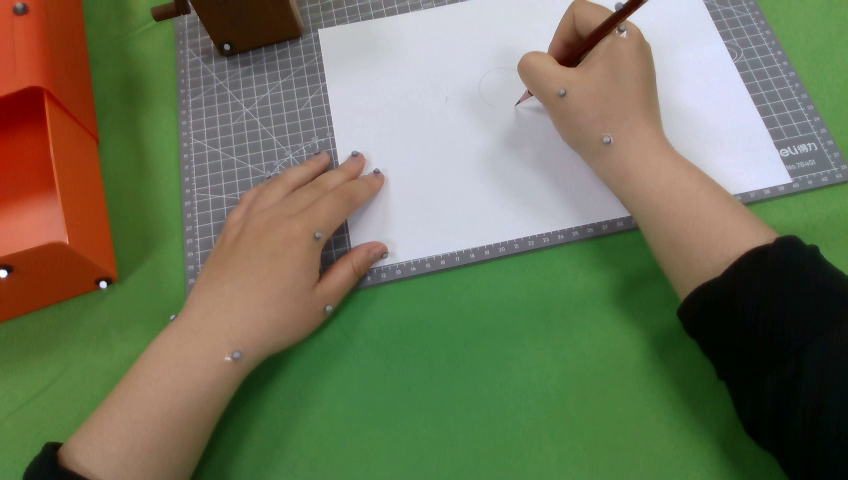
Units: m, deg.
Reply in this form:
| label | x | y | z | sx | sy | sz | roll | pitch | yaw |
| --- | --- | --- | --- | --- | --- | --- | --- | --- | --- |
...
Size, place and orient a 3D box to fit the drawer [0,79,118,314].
| label | x | y | z | sx | sy | sz | roll | pitch | yaw |
| --- | --- | --- | --- | --- | --- | --- | --- | --- | --- |
| drawer | -0.330 | -0.044 | 0.407 | 0.194 | 0.074 | 0.210 | -20 | 67 | -3 |

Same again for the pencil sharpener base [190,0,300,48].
| label | x | y | z | sx | sy | sz | roll | pitch | yaw |
| --- | --- | --- | --- | --- | --- | --- | --- | --- | --- |
| pencil sharpener base | -0.144 | -0.202 | 0.439 | 0.077 | 0.108 | 0.061 | -18 | 67 | -2 |

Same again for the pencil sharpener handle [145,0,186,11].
| label | x | y | z | sx | sy | sz | roll | pitch | yaw |
| --- | --- | --- | --- | --- | --- | --- | --- | --- | --- |
| pencil sharpener handle | -0.193 | -0.191 | 0.425 | 0.030 | 0.068 | 0.035 | -18 | 64 | -2 |

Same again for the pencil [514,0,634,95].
| label | x | y | z | sx | sy | sz | roll | pitch | yaw |
| --- | --- | --- | --- | --- | --- | --- | --- | --- | --- |
| pencil | 0.109 | -0.133 | 0.357 | 0.012 | 0.194 | 0.012 | 9 | 69 | -25 |

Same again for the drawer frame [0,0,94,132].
| label | x | y | z | sx | sy | sz | roll | pitch | yaw |
| --- | --- | --- | --- | --- | --- | --- | --- | --- | --- |
| drawer frame | -0.369 | -0.146 | 0.449 | 0.202 | 0.083 | 0.211 | -19 | 67 | -3 |
